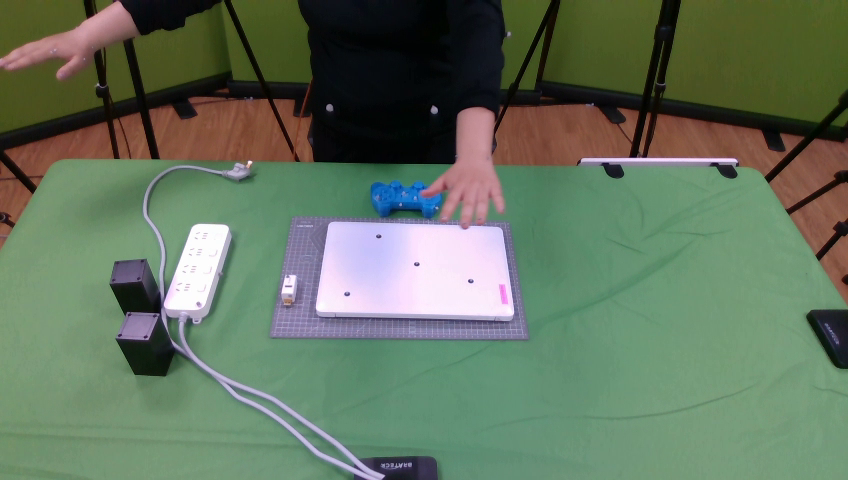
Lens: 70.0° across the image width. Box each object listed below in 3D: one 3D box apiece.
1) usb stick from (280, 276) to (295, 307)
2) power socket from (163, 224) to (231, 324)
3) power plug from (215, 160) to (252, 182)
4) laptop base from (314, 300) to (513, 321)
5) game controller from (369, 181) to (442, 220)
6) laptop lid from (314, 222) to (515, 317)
[{"bbox_3d":[-0.244,0.093,1.081,0.021,0.027,0.059,3,46,-4],"label":"usb stick"},{"bbox_3d":[-0.412,0.052,1.106,0.072,0.033,0.225,3,46,-3],"label":"power socket"},{"bbox_3d":[-0.409,-0.155,1.303,0.072,0.035,0.052,23,65,2],"label":"power plug"},{"bbox_3d":[-0.017,0.059,1.141,0.354,0.023,0.234,2,42,-3],"label":"laptop base"},{"bbox_3d":[-0.039,-0.092,1.268,0.155,0.052,0.096,2,50,-2],"label":"game controller"},{"bbox_3d":[-0.016,0.049,1.134,0.357,0.013,0.240,3,43,-1],"label":"laptop lid"}]
